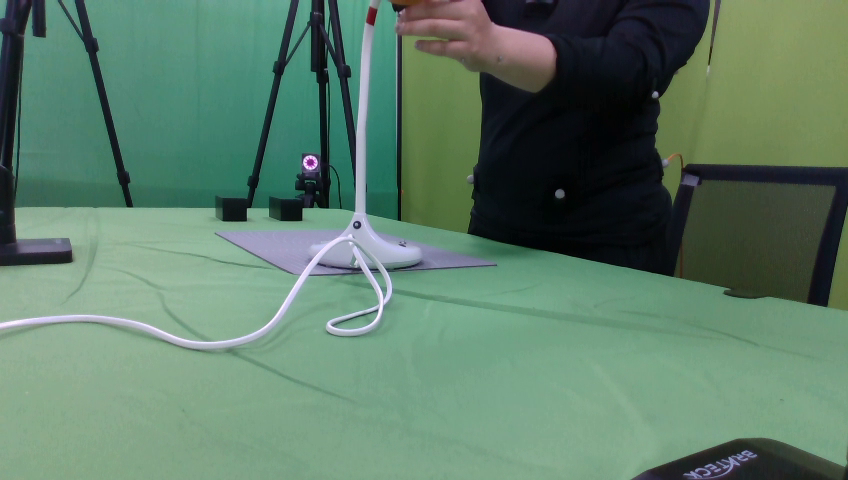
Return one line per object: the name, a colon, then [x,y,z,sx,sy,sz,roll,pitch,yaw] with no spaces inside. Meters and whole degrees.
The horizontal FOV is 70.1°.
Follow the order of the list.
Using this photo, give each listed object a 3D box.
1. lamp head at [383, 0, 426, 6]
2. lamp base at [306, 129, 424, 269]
lamp head: [-0.024,-0.325,0.672,0.112,0.123,0.112,4,3,0]
lamp base: [-0.077,-0.057,0.810,0.161,0.180,0.179,2,10,-4]
